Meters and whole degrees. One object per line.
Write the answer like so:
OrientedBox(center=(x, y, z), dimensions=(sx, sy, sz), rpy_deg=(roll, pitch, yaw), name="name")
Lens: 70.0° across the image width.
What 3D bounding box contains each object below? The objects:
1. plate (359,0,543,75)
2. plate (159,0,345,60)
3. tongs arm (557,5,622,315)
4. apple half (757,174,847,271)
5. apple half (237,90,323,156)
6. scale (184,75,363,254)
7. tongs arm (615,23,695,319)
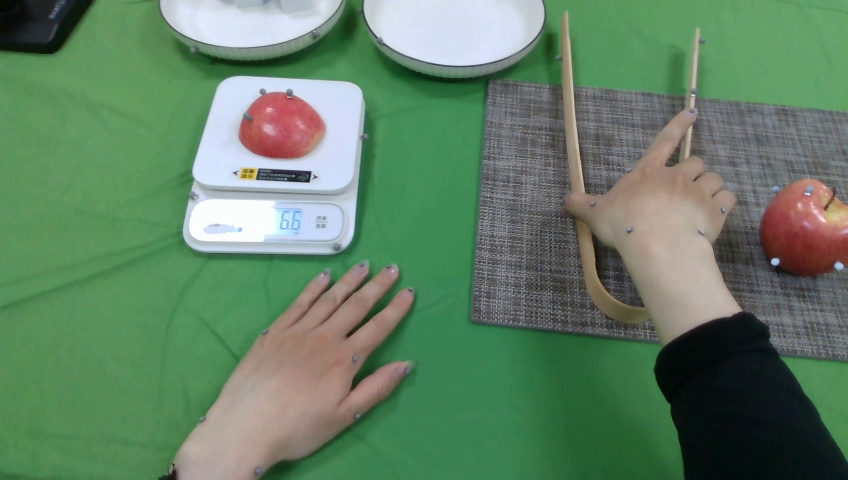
OrientedBox(center=(0.031, -0.257, 0.699), dimensions=(0.209, 0.038, 0.207), rpy_deg=(1, 56, -1), name="plate")
OrientedBox(center=(-0.194, -0.275, 0.702), dimensions=(0.208, 0.039, 0.205), rpy_deg=(1, 56, -1), name="plate")
OrientedBox(center=(0.153, -0.104, 0.600), dimensions=(0.028, 0.028, 0.384), rpy_deg=(6, 56, -4), name="tongs arm")
OrientedBox(center=(0.320, -0.008, 0.517), dimensions=(0.053, 0.075, 0.080), rpy_deg=(-28, 65, -15), name="apple half")
OrientedBox(center=(-0.134, -0.115, 0.564), dimensions=(0.081, 0.033, 0.080), rpy_deg=(1, 55, -1), name="apple half")
OrientedBox(center=(-0.137, -0.077, 0.574), dimensions=(0.149, 0.032, 0.199), rpy_deg=(1, 56, -1), name="scale")
OrientedBox(center=(0.233, -0.090, 0.594), dimensions=(0.050, 0.027, 0.382), rpy_deg=(15, 58, 6), name="tongs arm")
